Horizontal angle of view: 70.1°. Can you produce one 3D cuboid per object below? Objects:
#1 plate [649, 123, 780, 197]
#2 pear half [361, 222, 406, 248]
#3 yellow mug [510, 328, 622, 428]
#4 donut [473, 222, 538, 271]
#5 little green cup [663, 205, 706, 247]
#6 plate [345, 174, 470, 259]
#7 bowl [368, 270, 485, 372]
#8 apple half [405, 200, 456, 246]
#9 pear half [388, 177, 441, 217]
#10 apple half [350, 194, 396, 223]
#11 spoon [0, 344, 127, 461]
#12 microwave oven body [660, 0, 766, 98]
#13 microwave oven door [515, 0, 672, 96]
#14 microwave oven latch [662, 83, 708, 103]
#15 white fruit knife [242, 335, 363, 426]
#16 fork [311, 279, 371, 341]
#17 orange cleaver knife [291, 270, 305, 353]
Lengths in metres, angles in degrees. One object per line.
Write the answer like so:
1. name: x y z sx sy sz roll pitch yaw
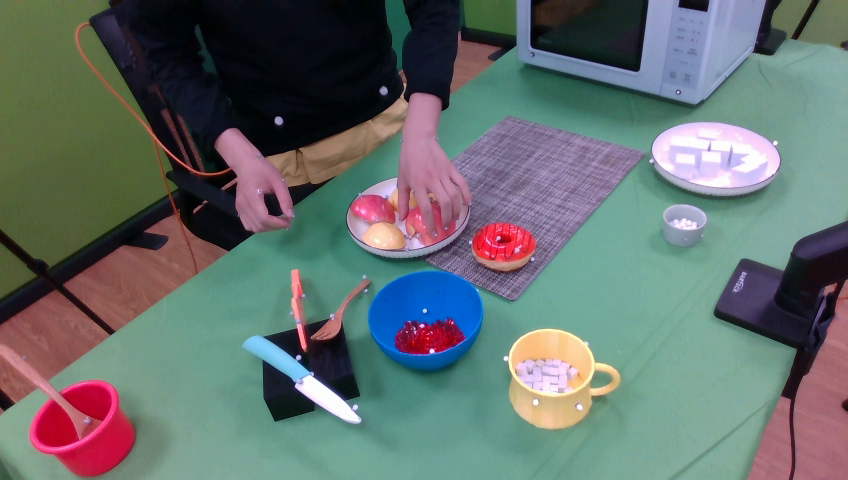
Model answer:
1. plate: 0.497 -0.135 1.046 0.207 0.039 0.206 -4 40 4
2. pear half: -0.064 -0.013 0.959 0.071 0.031 0.087 4 21 -24
3. yellow mug: 0.169 0.164 0.722 0.130 0.064 0.099 0 40 8
4. donut: 0.123 0.009 0.923 0.099 0.048 0.098 -3 37 3
5. little green cup: 0.396 -0.020 0.926 0.061 0.039 0.061 -4 40 4
6. plate: -0.026 -0.036 1.004 0.209 0.038 0.208 -4 40 4
7. bowl: 0.007 0.118 0.791 0.151 0.077 0.150 -5 40 4
8. apple half: 0.010 -0.035 0.967 0.075 0.053 0.080 -29 39 -22
9. pear half: -0.029 -0.078 1.033 0.109 0.056 0.076 -4 34 17
10. apple half: -0.081 -0.057 1.008 0.081 0.033 0.081 12 23 -5
11. spoon: -0.433 0.191 0.721 0.194 0.021 0.042 47 53 -6
12. microwave oven body: 0.472 -0.513 1.317 0.438 0.261 0.327 26 51 34
13. microwave oven door: 0.343 -0.454 1.259 0.353 0.245 0.039 26 51 33
14. microwave oven latch: 0.517 -0.296 1.204 0.078 0.029 0.030 28 52 35
15. white fruit knife: -0.148 0.167 0.730 0.206 0.016 0.027 26 80 31
16. fork: -0.108 0.092 0.832 0.028 0.019 0.207 -6 19 15
17. orange cleaver knife: -0.175 0.094 0.844 0.012 0.077 0.210 -11 14 -10
